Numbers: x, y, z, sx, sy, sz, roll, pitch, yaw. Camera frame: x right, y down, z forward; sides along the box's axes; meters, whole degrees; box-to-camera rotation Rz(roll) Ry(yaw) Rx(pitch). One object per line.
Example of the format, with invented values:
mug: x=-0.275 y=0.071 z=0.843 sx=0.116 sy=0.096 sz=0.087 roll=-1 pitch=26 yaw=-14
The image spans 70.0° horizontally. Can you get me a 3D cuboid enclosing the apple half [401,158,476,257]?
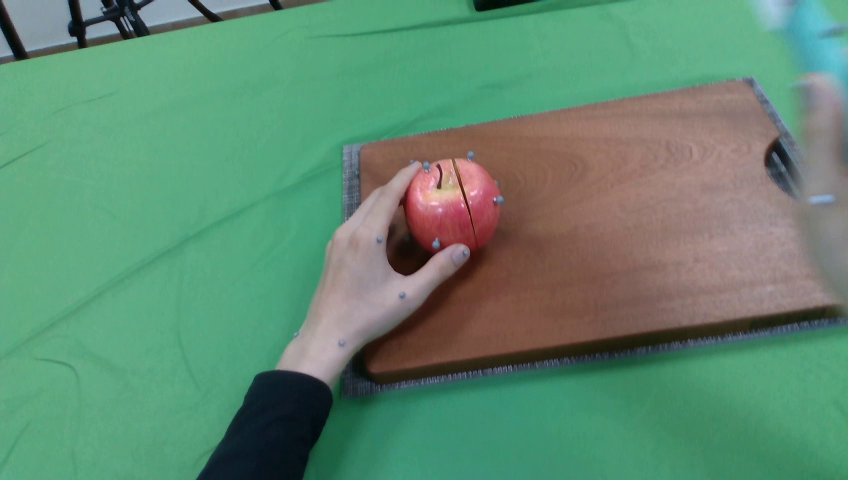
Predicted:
apple half: x=0.009 y=-0.022 z=0.515 sx=0.053 sy=0.075 sz=0.080 roll=-18 pitch=55 yaw=2

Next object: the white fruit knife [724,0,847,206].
white fruit knife: x=0.176 y=-0.114 z=0.314 sx=0.016 sy=0.027 sz=0.206 roll=-21 pitch=79 yaw=-20

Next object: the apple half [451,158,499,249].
apple half: x=0.048 y=-0.033 z=0.515 sx=0.033 sy=0.082 sz=0.080 roll=-15 pitch=52 yaw=1
